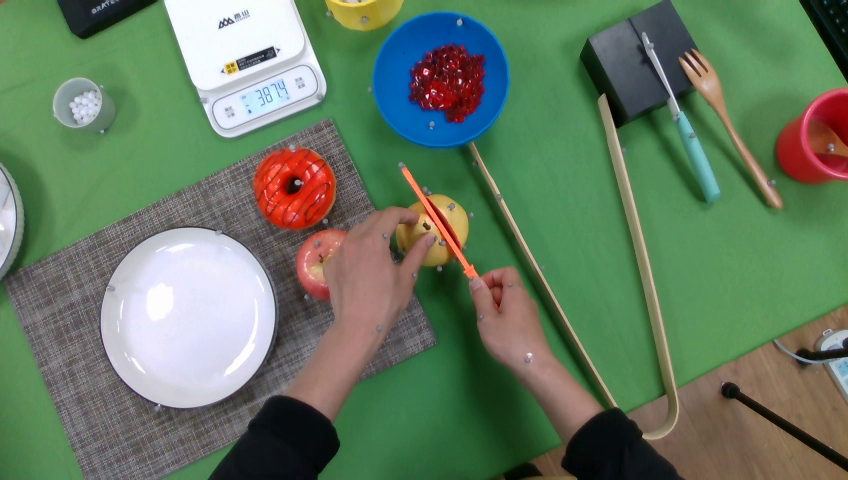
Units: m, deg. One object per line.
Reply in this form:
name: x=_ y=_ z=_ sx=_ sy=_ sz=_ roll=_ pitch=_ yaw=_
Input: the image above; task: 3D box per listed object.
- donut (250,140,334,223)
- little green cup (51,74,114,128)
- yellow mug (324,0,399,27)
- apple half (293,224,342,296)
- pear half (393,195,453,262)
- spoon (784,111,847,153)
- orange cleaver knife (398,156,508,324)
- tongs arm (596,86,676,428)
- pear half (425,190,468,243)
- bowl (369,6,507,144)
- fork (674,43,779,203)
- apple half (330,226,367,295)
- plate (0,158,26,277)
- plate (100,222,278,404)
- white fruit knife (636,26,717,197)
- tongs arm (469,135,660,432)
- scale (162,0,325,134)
donut: x=-0.154 y=-0.067 z=0.707 sx=0.099 sy=0.048 sz=0.099 roll=0 pitch=88 yaw=5
little green cup: x=-0.412 y=-0.166 z=0.737 sx=0.061 sy=0.039 sz=0.061 roll=0 pitch=86 yaw=4
yellow mug: x=-0.092 y=-0.321 z=0.712 sx=0.130 sy=0.064 sz=0.100 roll=31 pitch=89 yaw=6
apple half: x=-0.118 y=0.021 z=0.684 sx=0.053 sy=0.075 sz=0.080 roll=8 pitch=89 yaw=8
pear half: x=-0.006 y=-0.008 z=0.664 sx=0.056 sy=0.110 sz=0.076 roll=-39 pitch=80 yaw=0
spoon: x=0.452 y=-0.084 z=0.622 sx=0.041 sy=0.022 sz=0.191 roll=-32 pitch=40 yaw=1
orange cleaver knife: x=0.029 y=-0.002 z=0.661 sx=0.012 sy=0.077 sz=0.211 roll=-33 pitch=95 yaw=5
tongs arm: x=0.237 y=0.015 z=0.686 sx=0.028 sy=0.028 sz=0.386 roll=-11 pitch=86 yaw=-3
pear half: x=0.029 y=-0.032 z=0.676 sx=0.031 sy=0.088 sz=0.070 roll=-42 pitch=81 yaw=-8
bowl: x=0.017 y=-0.177 z=0.690 sx=0.151 sy=0.077 sz=0.151 roll=0 pitch=87 yaw=4
fork: x=0.340 y=-0.127 z=0.673 sx=0.028 sy=0.018 sz=0.208 roll=-36 pitch=100 yaw=-2
apple half: x=-0.079 y=0.025 z=0.680 sx=0.033 sy=0.081 sz=0.081 roll=7 pitch=86 yaw=8
plate: x=-0.582 y=-0.023 z=0.738 sx=0.207 sy=0.039 sz=0.207 roll=0 pitch=86 yaw=4
plate: x=-0.268 y=0.083 z=0.707 sx=0.209 sy=0.038 sz=0.208 roll=0 pitch=86 yaw=4
white fruit knife: x=0.278 y=-0.140 z=0.670 sx=0.016 sy=0.027 sz=0.208 roll=-28 pitch=99 yaw=1
tongs arm: x=0.156 y=0.044 z=0.687 sx=0.051 sy=0.026 sz=0.384 roll=-25 pitch=86 yaw=-1
scale: x=-0.219 y=-0.243 z=0.732 sx=0.148 sy=0.031 sz=0.200 roll=-22 pitch=86 yaw=3
